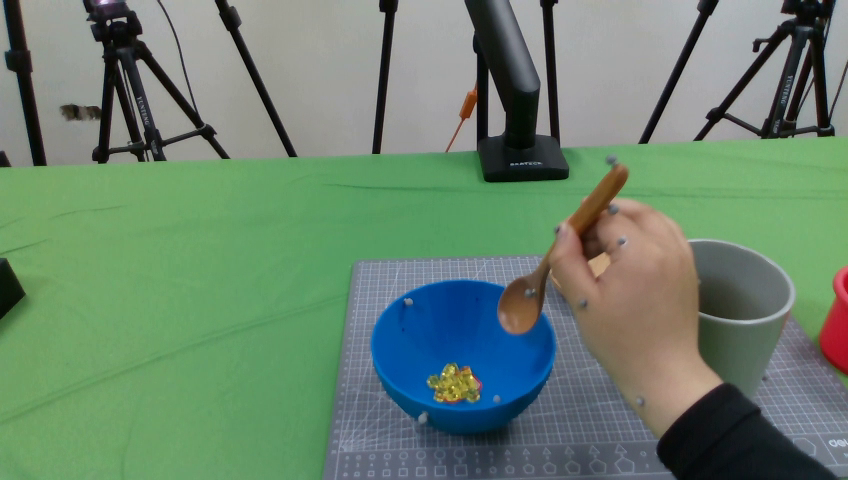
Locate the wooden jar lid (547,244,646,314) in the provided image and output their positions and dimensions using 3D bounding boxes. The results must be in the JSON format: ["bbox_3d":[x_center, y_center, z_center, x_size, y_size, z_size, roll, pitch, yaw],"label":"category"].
[{"bbox_3d":[0.186,0.042,0.650,0.108,0.021,0.107,-1,34,1],"label":"wooden jar lid"}]

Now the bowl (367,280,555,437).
[{"bbox_3d":[0.031,0.110,0.509,0.151,0.077,0.150,-1,35,1],"label":"bowl"}]

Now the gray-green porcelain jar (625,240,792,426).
[{"bbox_3d":[0.226,0.081,0.500,0.106,0.127,0.105,-1,35,1],"label":"gray-green porcelain jar"}]

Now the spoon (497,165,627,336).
[{"bbox_3d":[0.088,0.015,0.415,0.022,0.195,0.041,-10,61,-18],"label":"spoon"}]
